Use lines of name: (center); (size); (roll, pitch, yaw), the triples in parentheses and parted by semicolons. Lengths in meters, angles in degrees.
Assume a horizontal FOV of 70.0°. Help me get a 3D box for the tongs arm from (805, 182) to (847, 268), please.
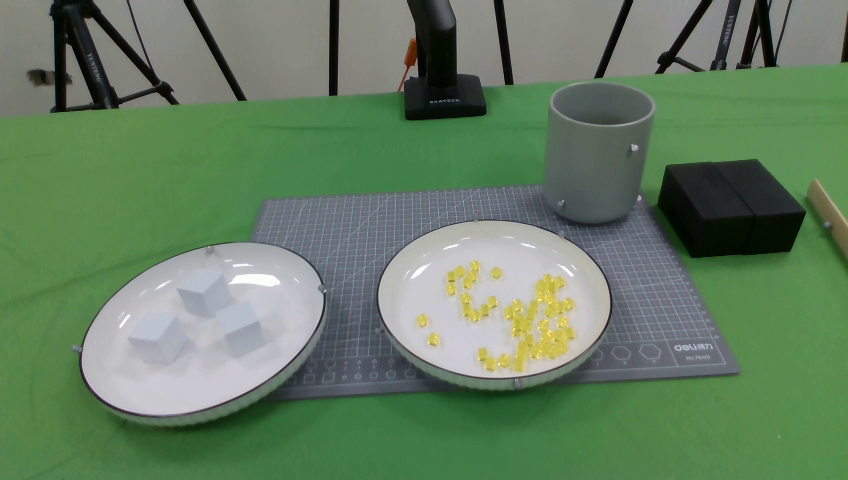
tongs arm: (0.421, 0.062, 0.533); (0.028, 0.028, 0.384); (2, 38, 4)

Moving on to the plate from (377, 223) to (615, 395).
plate: (0.063, 0.060, 0.548); (0.207, 0.039, 0.205); (-2, 38, 2)

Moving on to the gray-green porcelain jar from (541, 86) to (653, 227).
gray-green porcelain jar: (0.181, -0.086, 0.653); (0.106, 0.127, 0.105); (-2, 38, 2)

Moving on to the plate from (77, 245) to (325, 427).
plate: (-0.189, 0.082, 0.538); (0.209, 0.038, 0.207); (-3, 38, 3)
